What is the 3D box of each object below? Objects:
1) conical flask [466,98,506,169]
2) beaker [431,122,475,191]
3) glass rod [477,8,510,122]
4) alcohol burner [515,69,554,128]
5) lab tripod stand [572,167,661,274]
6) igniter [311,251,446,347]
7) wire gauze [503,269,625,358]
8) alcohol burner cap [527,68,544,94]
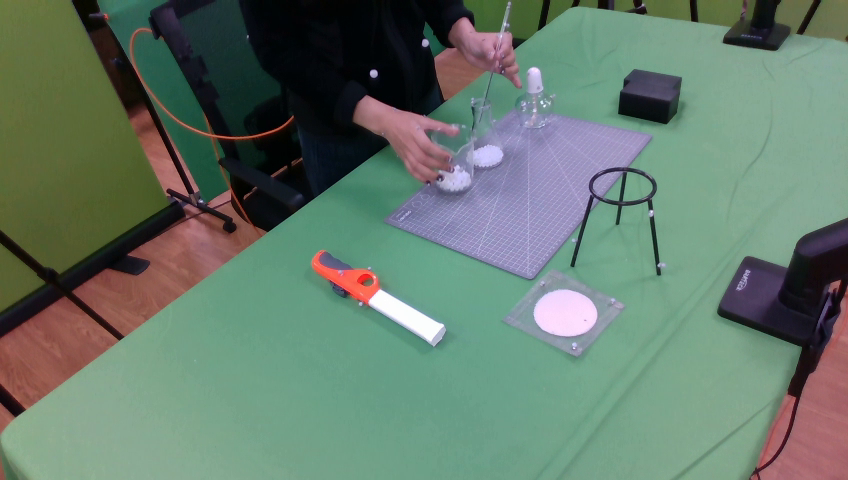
[{"bbox_3d":[0.111,-0.199,1.116,0.075,0.122,0.075,-5,40,5],"label":"conical flask"},{"bbox_3d":[0.053,-0.140,1.049,0.074,0.100,0.083,-7,43,-2],"label":"beaker"},{"bbox_3d":[0.121,-0.304,1.061,0.008,0.200,0.008,13,21,-4],"label":"glass rod"},{"bbox_3d":[0.221,-0.285,1.203,0.078,0.119,0.077,-4,39,4],"label":"alcohol burner"},{"bbox_3d":[0.284,-0.030,0.879,0.148,0.132,0.147,-7,38,6],"label":"lab tripod stand"},{"bbox_3d":[-0.078,0.081,0.899,0.274,0.025,0.057,27,62,35],"label":"igniter"},{"bbox_3d":[0.194,0.100,0.840,0.120,0.011,0.125,27,54,36],"label":"wire gauze"},{"bbox_3d":[0.216,-0.312,1.179,0.034,0.048,0.033,-9,40,8],"label":"alcohol burner cap"}]
